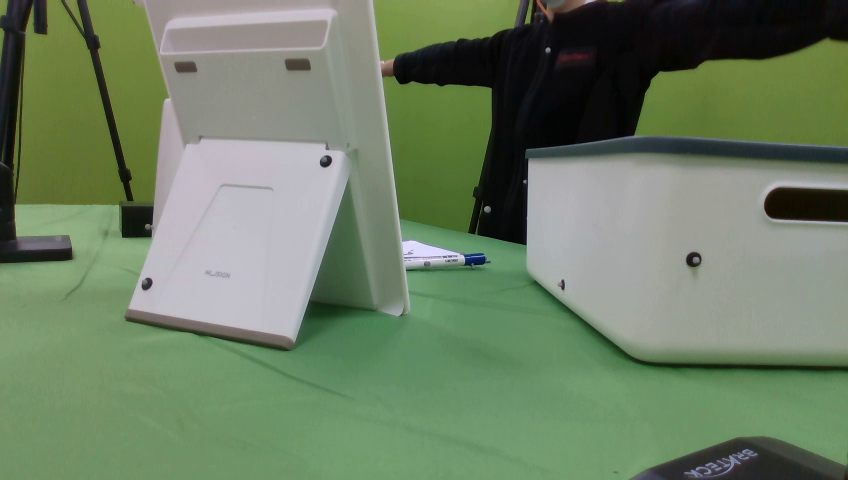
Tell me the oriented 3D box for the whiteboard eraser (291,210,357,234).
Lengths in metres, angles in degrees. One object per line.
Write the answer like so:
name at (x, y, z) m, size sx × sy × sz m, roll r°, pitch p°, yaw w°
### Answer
whiteboard eraser at (-0.184, -0.034, 1.115) m, size 0.113 × 0.042 × 0.055 m, roll -3°, pitch 10°, yaw -40°

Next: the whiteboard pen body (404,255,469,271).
whiteboard pen body at (0.013, 0.030, 0.792) m, size 0.141 × 0.017 × 0.017 m, roll -3°, pitch 9°, yaw -24°

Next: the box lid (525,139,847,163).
box lid at (0.261, -0.078, 0.580) m, size 0.264 × 0.015 × 0.371 m, roll 2°, pitch 7°, yaw -4°

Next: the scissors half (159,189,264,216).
scissors half at (-0.370, -0.062, 1.059) m, size 0.176 × 0.040 × 0.013 m, roll -11°, pitch 8°, yaw -26°

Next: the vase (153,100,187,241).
vase at (-0.278, -0.066, 0.736) m, size 0.098 × 0.200 × 0.098 m, roll 2°, pitch 9°, yaw 0°

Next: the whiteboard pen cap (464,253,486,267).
whiteboard pen cap at (0.066, 0.027, 0.818) m, size 0.033 × 0.018 × 0.018 m, roll -5°, pitch 10°, yaw -24°

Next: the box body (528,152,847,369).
box body at (0.258, -0.005, 0.591) m, size 0.254 × 0.160 × 0.363 m, roll 2°, pitch 7°, yaw -4°

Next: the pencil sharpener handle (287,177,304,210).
pencil sharpener handle at (-0.269, -0.096, 1.257) m, size 0.036 × 0.067 × 0.030 m, roll -8°, pitch 8°, yaw -27°

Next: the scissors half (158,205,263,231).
scissors half at (-0.371, -0.042, 1.061) m, size 0.176 × 0.040 × 0.012 m, roll 8°, pitch 4°, yaw -28°

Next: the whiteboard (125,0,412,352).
whiteboard at (-0.151, -0.049, 0.471) m, size 0.216 × 0.305 × 0.144 m, roll 6°, pitch 27°, yaw 24°

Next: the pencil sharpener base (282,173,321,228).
pencil sharpener base at (-0.247, -0.080, 1.212) m, size 0.061 × 0.107 × 0.076 m, roll -2°, pitch 5°, yaw -28°

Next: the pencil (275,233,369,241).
pencil at (-0.169, -0.006, 1.036) m, size 0.195 × 0.012 × 0.012 m, roll -2°, pitch 9°, yaw -45°

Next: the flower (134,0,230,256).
flower at (-0.282, -0.147, 0.713) m, size 0.038 × 0.362 × 0.044 m, roll -23°, pitch 24°, yaw -31°
